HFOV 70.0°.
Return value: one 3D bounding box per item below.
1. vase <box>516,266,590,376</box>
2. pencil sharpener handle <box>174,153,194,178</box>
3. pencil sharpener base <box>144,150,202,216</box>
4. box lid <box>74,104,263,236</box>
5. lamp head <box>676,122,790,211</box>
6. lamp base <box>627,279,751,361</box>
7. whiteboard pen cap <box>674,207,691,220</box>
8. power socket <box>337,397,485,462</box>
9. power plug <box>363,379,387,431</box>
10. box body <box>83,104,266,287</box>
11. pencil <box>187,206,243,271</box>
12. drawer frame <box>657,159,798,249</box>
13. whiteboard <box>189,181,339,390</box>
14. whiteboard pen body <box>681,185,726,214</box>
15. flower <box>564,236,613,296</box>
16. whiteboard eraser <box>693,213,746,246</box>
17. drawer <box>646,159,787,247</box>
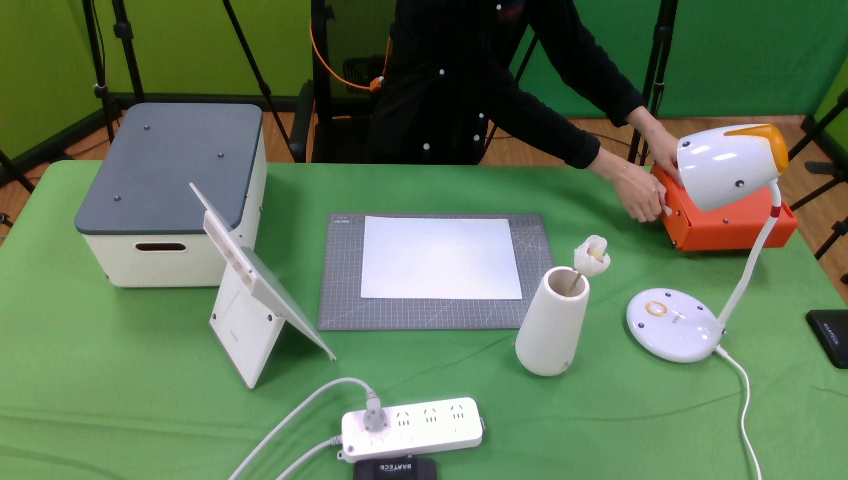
[{"bbox_3d":[0.208,0.132,0.964,0.098,0.201,0.097,3,46,-3],"label":"vase"},{"bbox_3d":[-0.479,-0.156,1.225,0.036,0.068,0.030,23,47,2],"label":"pencil sharpener handle"},{"bbox_3d":[-0.493,-0.113,1.198,0.061,0.107,0.076,14,46,12],"label":"pencil sharpener base"},{"bbox_3d":[-0.443,-0.139,1.095,0.263,0.015,0.369,-1,45,-5],"label":"box lid"},{"bbox_3d":[0.423,-0.104,0.819,0.122,0.113,0.112,-13,33,40],"label":"lamp head"},{"bbox_3d":[0.459,0.100,1.027,0.178,0.181,0.160,27,51,17],"label":"lamp base"},{"bbox_3d":[0.520,-0.053,1.216,0.033,0.018,0.018,-27,54,-23],"label":"whiteboard pen cap"},{"bbox_3d":[-0.018,0.285,0.915,0.227,0.033,0.071,-5,46,-8],"label":"power socket"},{"bbox_3d":[-0.072,0.252,0.910,0.035,0.053,0.072,3,44,-1],"label":"power plug"},{"bbox_3d":[-0.447,-0.088,1.150,0.254,0.161,0.361,-1,46,-5],"label":"box body"},{"bbox_3d":[-0.401,-0.009,1.176,0.012,0.012,0.193,15,44,10],"label":"pencil"},{"bbox_3d":[0.588,-0.076,1.218,0.214,0.083,0.200,-1,46,-4],"label":"drawer frame"},{"bbox_3d":[-0.292,0.096,0.929,0.144,0.307,0.216,-37,57,-10],"label":"whiteboard"},{"bbox_3d":[0.569,-0.081,1.236,0.141,0.017,0.017,-26,54,-26],"label":"whiteboard pen body"},{"bbox_3d":[0.206,0.088,0.892,0.038,0.363,0.044,-17,67,-10],"label":"flower"},{"bbox_3d":[0.587,-0.018,1.207,0.113,0.042,0.055,12,26,-35],"label":"whiteboard eraser"},{"bbox_3d":[0.578,-0.078,1.212,0.212,0.073,0.193,-1,45,-4],"label":"drawer"}]
